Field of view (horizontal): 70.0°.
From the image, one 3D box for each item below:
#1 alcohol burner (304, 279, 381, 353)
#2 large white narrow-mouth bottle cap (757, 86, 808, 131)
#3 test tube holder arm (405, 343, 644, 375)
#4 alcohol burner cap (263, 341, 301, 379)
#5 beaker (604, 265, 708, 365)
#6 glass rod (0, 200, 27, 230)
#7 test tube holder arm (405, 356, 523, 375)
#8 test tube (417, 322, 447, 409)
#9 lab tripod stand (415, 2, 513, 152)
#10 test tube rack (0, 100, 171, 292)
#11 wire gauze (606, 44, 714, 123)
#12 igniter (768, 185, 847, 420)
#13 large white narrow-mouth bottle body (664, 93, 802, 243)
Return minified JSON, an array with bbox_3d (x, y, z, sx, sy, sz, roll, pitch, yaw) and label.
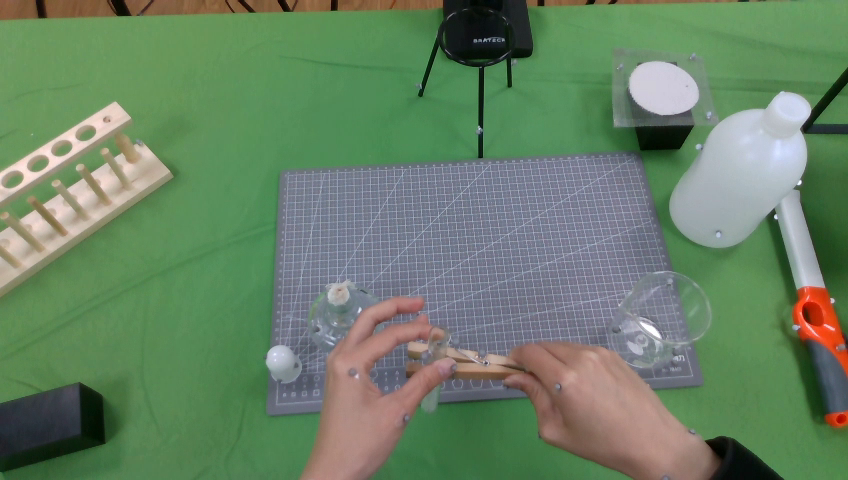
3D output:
[{"bbox_3d":[-0.082,0.069,0.603,0.078,0.120,0.077,1,61,-2],"label":"alcohol burner"},{"bbox_3d":[0.333,-0.123,0.566,0.038,0.024,0.037,0,62,0],"label":"large white narrow-mouth bottle cap"},{"bbox_3d":[0.075,0.090,0.456,0.178,0.015,0.013,3,70,2],"label":"test tube holder arm"},{"bbox_3d":[-0.146,0.120,0.616,0.034,0.048,0.033,-1,64,2],"label":"alcohol burner cap"},{"bbox_3d":[0.224,0.080,0.608,0.084,0.101,0.073,2,62,2],"label":"beaker"},{"bbox_3d":[-0.452,-0.069,0.614,0.008,0.201,0.008,2,54,-2],"label":"glass rod"},{"bbox_3d":[0.030,0.094,0.456,0.088,0.015,0.010,-3,69,0],"label":"test tube holder arm"},{"bbox_3d":[0.005,0.103,0.478,0.017,0.151,0.017,2,56,-2],"label":"test tube"},{"bbox_3d":[0.057,-0.203,0.736,0.148,0.132,0.147,1,63,-2],"label":"lab tripod stand"},{"bbox_3d":[-0.419,-0.046,0.677,0.242,0.086,0.066,-41,70,-19],"label":"test tube rack"},{"bbox_3d":[0.287,-0.193,0.748,0.121,0.011,0.124,4,62,2],"label":"wire gauze"},{"bbox_3d":[0.421,0.058,0.665,0.057,0.025,0.274,6,62,-9],"label":"igniter"},{"bbox_3d":[0.333,-0.081,0.641,0.102,0.196,0.101,0,62,0],"label":"large white narrow-mouth bottle body"}]
